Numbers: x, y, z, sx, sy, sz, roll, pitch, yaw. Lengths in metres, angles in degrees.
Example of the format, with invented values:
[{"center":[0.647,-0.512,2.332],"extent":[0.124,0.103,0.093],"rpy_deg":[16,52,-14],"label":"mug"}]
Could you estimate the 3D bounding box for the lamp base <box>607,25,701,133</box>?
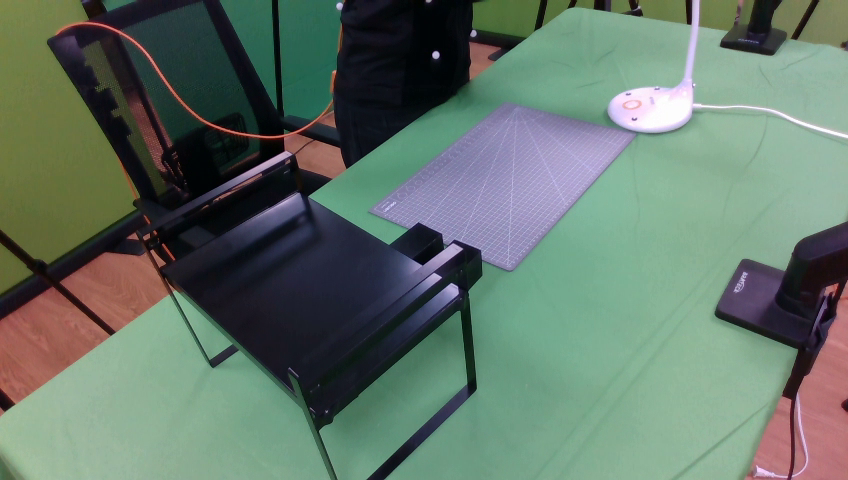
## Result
[{"center":[0.454,-0.321,1.160],"extent":[0.179,0.181,0.159],"rpy_deg":[-6,41,-2],"label":"lamp base"}]
